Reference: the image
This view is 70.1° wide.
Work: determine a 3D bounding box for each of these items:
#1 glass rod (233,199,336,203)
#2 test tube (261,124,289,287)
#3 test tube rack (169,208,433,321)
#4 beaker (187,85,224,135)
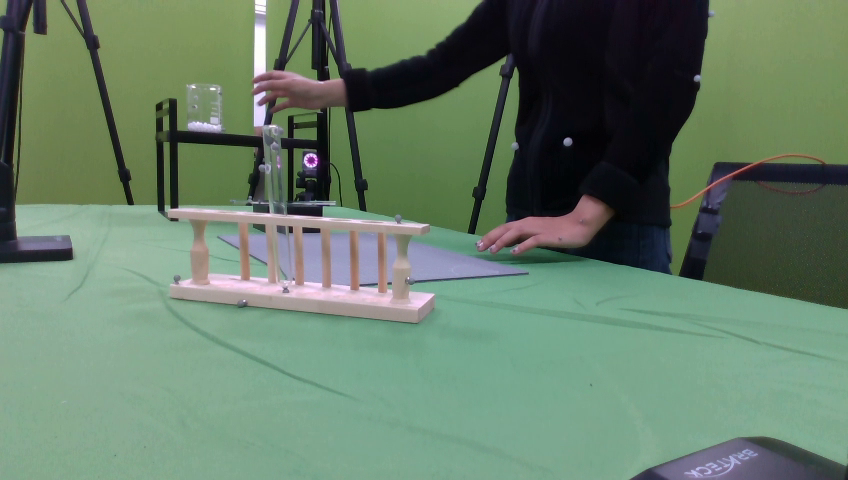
[{"bbox_3d":[-0.263,-0.076,1.160,0.201,0.008,0.008,-2,9,-31],"label":"glass rod"},{"bbox_3d":[-0.137,-0.031,0.557,0.017,0.150,0.017,-3,6,1],"label":"test tube"},{"bbox_3d":[-0.115,0.018,0.574,0.242,0.085,0.067,4,8,13],"label":"test tube rack"},{"bbox_3d":[-0.466,-0.275,1.286,0.074,0.100,0.084,5,8,22],"label":"beaker"}]
